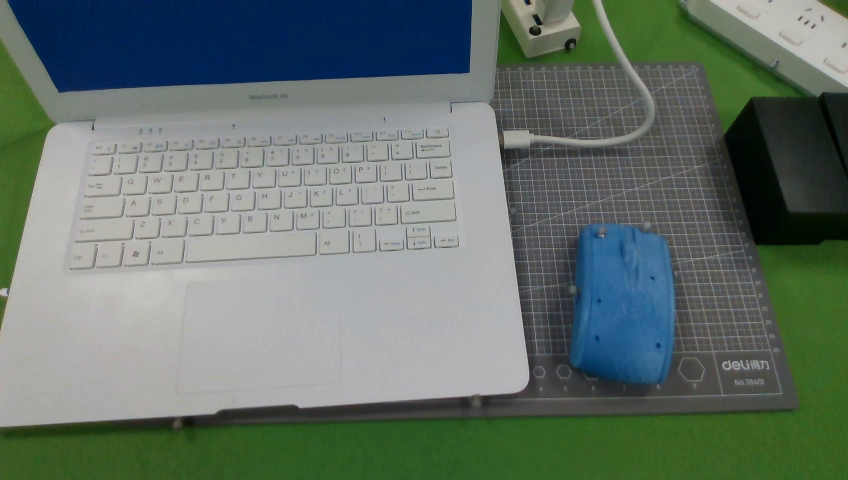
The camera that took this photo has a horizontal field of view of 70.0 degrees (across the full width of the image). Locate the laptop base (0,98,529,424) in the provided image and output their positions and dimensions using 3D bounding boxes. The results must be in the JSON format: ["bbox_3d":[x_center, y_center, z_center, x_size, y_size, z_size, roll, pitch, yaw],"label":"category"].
[{"bbox_3d":[-0.113,0.004,0.440,0.354,0.023,0.233,-3,67,-2],"label":"laptop base"}]

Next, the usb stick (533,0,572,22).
[{"bbox_3d":[0.109,-0.203,0.507,0.027,0.059,0.021,-19,64,-7],"label":"usb stick"}]

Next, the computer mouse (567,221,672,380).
[{"bbox_3d":[0.134,0.036,0.412,0.063,0.041,0.116,10,60,7],"label":"computer mouse"}]

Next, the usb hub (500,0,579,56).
[{"bbox_3d":[0.091,-0.224,0.549,0.049,0.025,0.124,-16,65,-8],"label":"usb hub"}]

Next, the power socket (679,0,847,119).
[{"bbox_3d":[0.331,-0.171,0.521,0.072,0.033,0.225,-40,70,-19],"label":"power socket"}]

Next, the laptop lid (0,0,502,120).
[{"bbox_3d":[-0.122,-0.178,0.399,0.357,0.244,0.013,-4,50,-1],"label":"laptop lid"}]
